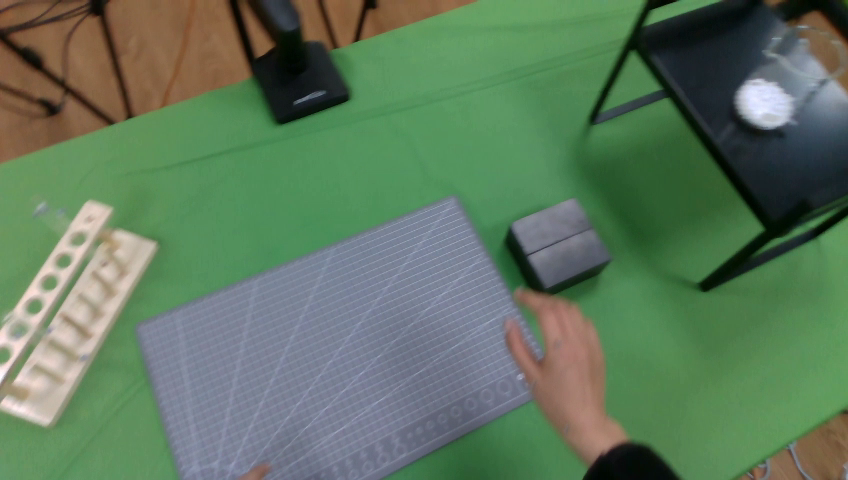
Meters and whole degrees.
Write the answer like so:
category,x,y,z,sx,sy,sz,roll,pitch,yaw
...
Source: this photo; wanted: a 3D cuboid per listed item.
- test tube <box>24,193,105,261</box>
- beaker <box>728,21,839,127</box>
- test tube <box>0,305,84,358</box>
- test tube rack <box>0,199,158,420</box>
category,x,y,z,sx,sy,sz,roll,pitch,yaw
test tube,-0.414,-0.011,0.706,0.017,0.151,0.017,0,64,1
beaker,0.398,-0.183,0.687,0.084,0.101,0.073,4,65,0
test tube,-0.415,0.102,0.660,0.017,0.151,0.017,0,64,0
test tube rack,-0.421,0.080,0.719,0.066,0.086,0.241,18,66,5
